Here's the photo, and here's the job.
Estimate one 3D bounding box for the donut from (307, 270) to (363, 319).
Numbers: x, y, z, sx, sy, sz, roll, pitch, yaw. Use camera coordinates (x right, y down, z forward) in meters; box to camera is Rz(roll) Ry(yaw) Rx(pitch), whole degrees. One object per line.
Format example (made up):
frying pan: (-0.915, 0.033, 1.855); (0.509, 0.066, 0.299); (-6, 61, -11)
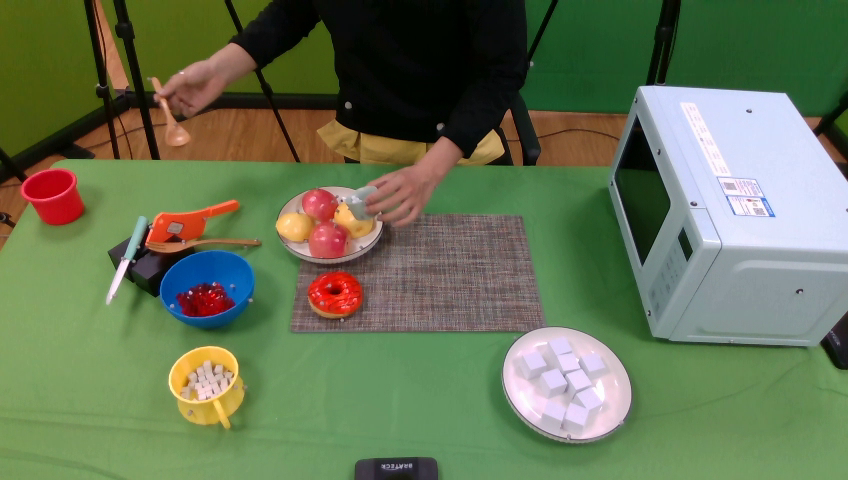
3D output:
donut: (-0.157, 0.097, 1.073); (0.099, 0.048, 0.098); (4, 46, -4)

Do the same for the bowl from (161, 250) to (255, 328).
bowl: (-0.362, 0.097, 1.040); (0.151, 0.077, 0.150); (2, 45, -2)

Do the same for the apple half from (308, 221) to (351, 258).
apple half: (-0.180, -0.005, 1.150); (0.074, 0.053, 0.080); (14, 43, 8)

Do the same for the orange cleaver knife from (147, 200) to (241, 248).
orange cleaver knife: (-0.435, -0.033, 1.157); (0.012, 0.077, 0.211); (31, 26, 19)

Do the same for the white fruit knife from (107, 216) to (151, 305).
white fruit knife: (-0.518, 0.032, 1.066); (0.027, 0.016, 0.206); (-18, 45, 19)

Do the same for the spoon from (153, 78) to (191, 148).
spoon: (-0.476, -0.239, 1.129); (0.041, 0.022, 0.192); (-21, 65, -16)

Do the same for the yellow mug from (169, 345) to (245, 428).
yellow mug: (-0.322, 0.230, 0.922); (0.100, 0.064, 0.130); (-24, 53, -25)

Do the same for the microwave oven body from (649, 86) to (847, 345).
microwave oven body: (0.568, -0.053, 1.118); (0.326, 0.261, 0.439); (2, 45, -1)

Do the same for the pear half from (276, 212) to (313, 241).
pear half: (-0.245, -0.035, 1.178); (0.070, 0.031, 0.088); (40, 41, 1)

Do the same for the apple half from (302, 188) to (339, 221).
apple half: (-0.205, -0.076, 1.216); (0.081, 0.033, 0.081); (18, 46, -19)

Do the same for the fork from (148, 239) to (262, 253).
fork: (-0.398, 0.008, 1.117); (0.208, 0.019, 0.028); (-5, 34, -37)

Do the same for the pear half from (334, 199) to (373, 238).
pear half: (-0.147, -0.060, 1.210); (0.076, 0.056, 0.109); (-16, 45, -25)

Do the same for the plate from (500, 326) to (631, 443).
plate: (0.224, 0.234, 0.978); (0.208, 0.039, 0.206); (2, 46, -2)

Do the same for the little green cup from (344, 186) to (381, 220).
little green cup: (-0.106, -0.064, 1.067); (0.061, 0.039, 0.061); (-15, 29, 9)

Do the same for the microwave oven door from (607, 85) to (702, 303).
microwave oven door: (0.423, -0.094, 1.140); (0.039, 0.245, 0.353); (2, 46, -1)

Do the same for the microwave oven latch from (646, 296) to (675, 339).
microwave oven latch: (0.412, 0.134, 1.061); (0.030, 0.029, 0.078); (4, 45, 1)

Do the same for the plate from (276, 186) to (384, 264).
plate: (-0.184, -0.027, 1.195); (0.209, 0.038, 0.208); (2, 46, -2)
